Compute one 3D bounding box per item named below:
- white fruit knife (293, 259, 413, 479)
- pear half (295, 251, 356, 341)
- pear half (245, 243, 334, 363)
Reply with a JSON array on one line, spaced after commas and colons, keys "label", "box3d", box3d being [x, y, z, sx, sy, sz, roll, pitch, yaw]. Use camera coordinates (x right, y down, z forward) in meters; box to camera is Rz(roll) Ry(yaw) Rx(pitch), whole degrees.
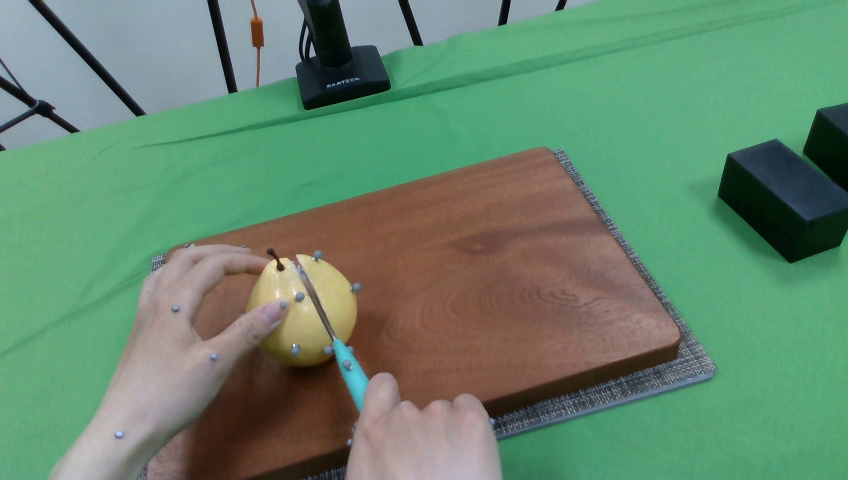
[{"label": "white fruit knife", "box3d": [-0.061, 0.082, 0.443, 0.016, 0.028, 0.205, -27, 51, -13]}, {"label": "pear half", "box3d": [-0.072, 0.038, 0.465, 0.031, 0.089, 0.069, -27, 42, -20]}, {"label": "pear half", "box3d": [-0.108, 0.047, 0.449, 0.056, 0.111, 0.075, -28, 43, -17]}]
